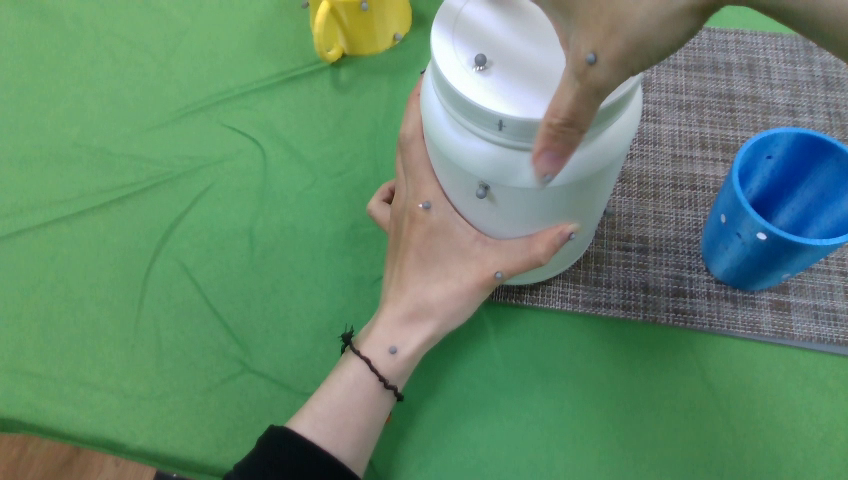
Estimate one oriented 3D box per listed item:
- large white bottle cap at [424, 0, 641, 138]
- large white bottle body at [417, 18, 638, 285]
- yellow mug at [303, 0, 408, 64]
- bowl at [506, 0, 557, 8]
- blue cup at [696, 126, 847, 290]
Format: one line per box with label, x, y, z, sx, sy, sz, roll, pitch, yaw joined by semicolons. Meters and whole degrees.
large white bottle cap;0.057;-0.104;0.325;0.115;0.018;0.114;-1;62;2
large white bottle body;0.062;-0.063;0.400;0.130;0.186;0.129;-1;62;2
yellow mug;-0.073;-0.219;0.558;0.099;0.064;0.130;19;66;12
bowl;0.106;-0.278;0.576;0.151;0.077;0.150;-1;62;2
blue cup;0.232;-0.012;0.413;0.092;0.101;0.092;-2;62;4
